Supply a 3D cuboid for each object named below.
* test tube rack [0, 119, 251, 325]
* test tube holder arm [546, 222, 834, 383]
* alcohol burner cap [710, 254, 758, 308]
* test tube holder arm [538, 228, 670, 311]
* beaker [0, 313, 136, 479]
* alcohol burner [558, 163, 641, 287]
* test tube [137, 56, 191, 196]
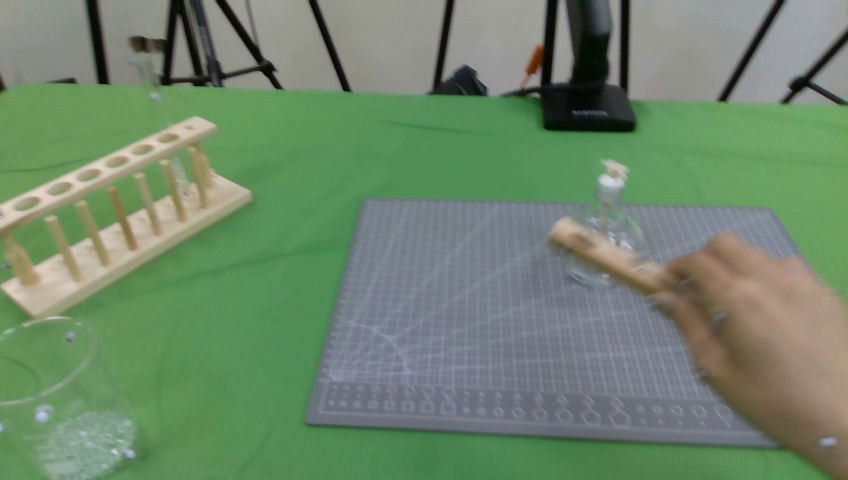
[{"bbox_3d":[-0.295,-0.028,0.600,0.066,0.086,0.242,26,45,29],"label":"test tube rack"},{"bbox_3d":[0.153,0.034,0.367,0.177,0.015,0.013,28,62,21],"label":"test tube holder arm"},{"bbox_3d":[0.281,0.035,0.544,0.034,0.048,0.033,-1,38,1],"label":"alcohol burner cap"},{"bbox_3d":[0.112,0.018,0.380,0.087,0.015,0.010,28,62,21],"label":"test tube holder arm"},{"bbox_3d":[-0.249,0.112,0.411,0.084,0.101,0.073,-14,40,-14],"label":"beaker"},{"bbox_3d":[0.161,-0.017,0.552,0.078,0.120,0.077,-1,37,1],"label":"alcohol burner"},{"bbox_3d":[-0.266,-0.113,0.624,0.017,0.151,0.017,-2,33,2],"label":"test tube"}]
